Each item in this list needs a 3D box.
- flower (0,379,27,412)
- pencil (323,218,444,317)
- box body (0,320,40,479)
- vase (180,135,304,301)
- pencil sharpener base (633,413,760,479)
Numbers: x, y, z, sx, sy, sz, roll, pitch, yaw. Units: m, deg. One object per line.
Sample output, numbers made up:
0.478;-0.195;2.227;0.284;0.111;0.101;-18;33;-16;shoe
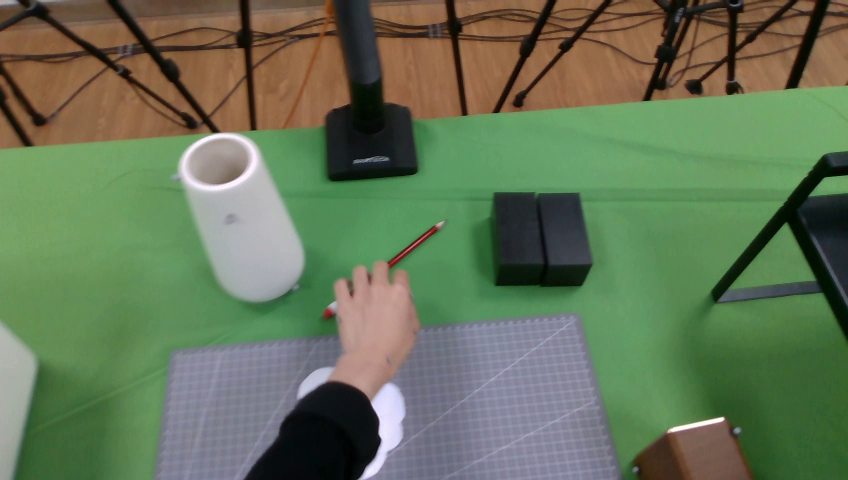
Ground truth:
-0.499;0.271;0.559;0.038;0.044;0.359;-16;31;27;flower
-0.043;0.028;0.715;0.012;0.012;0.194;40;63;22;pencil
-0.499;0.230;0.486;0.254;0.162;0.360;-6;58;-5;box body
-0.187;-0.017;0.629;0.098;0.202;0.097;0;56;1;vase
0.243;0.212;0.545;0.061;0.108;0.076;-9;58;-7;pencil sharpener base
